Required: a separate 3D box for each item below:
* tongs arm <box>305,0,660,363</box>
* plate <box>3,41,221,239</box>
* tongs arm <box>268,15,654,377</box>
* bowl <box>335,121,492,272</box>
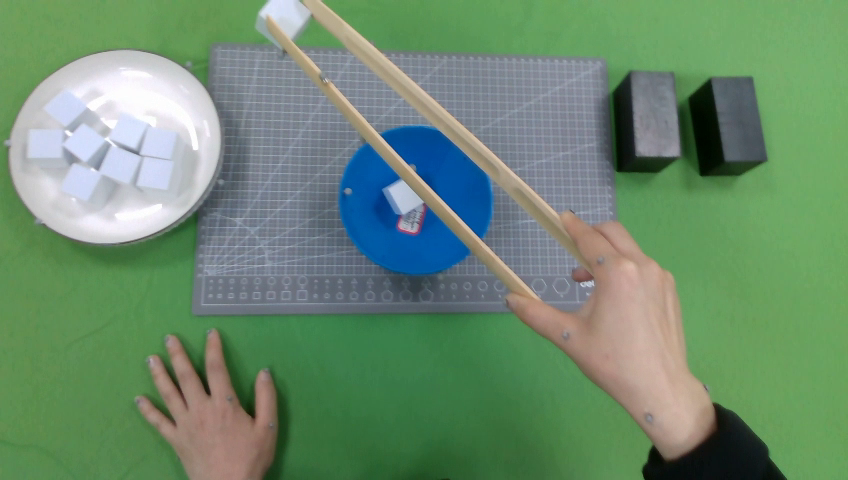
[{"bbox_3d":[0.034,-0.058,0.462,0.028,0.028,0.386,-40,80,-23],"label":"tongs arm"},{"bbox_3d":[-0.311,-0.100,0.619,0.208,0.039,0.206,1,79,-4],"label":"plate"},{"bbox_3d":[0.017,-0.042,0.455,0.051,0.026,0.383,-37,78,-19],"label":"tongs arm"},{"bbox_3d":[-0.013,-0.035,0.614,0.151,0.077,0.150,1,78,-6],"label":"bowl"}]
